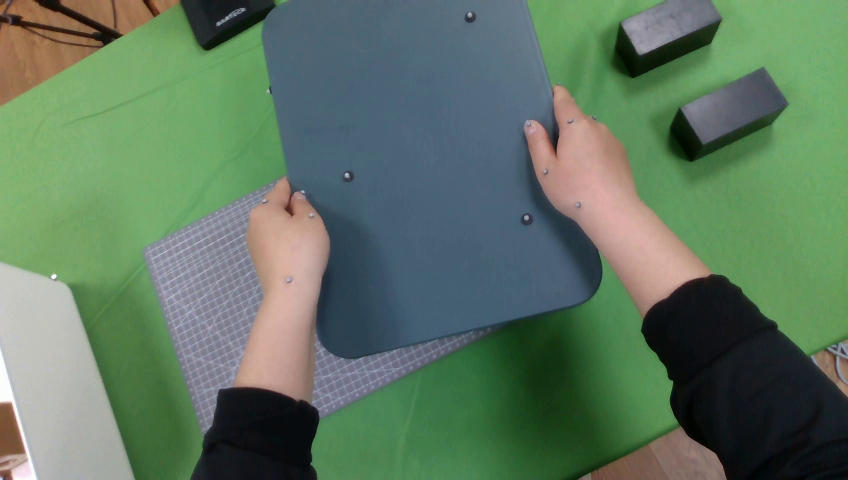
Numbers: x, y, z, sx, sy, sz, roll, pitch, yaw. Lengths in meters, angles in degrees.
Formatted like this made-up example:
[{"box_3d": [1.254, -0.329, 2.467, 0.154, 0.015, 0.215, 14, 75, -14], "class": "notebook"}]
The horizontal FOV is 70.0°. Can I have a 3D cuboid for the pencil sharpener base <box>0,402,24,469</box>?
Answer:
[{"box_3d": [-0.521, 0.238, 0.708, 0.061, 0.108, 0.076, -29, 74, 2], "class": "pencil sharpener base"}]

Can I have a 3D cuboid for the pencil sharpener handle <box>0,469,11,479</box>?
[{"box_3d": [-0.497, 0.276, 0.682, 0.036, 0.068, 0.030, -32, 73, 11], "class": "pencil sharpener handle"}]

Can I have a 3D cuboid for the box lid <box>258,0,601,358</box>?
[{"box_3d": [-0.008, -0.095, 0.568, 0.263, 0.015, 0.369, -15, 78, 7], "class": "box lid"}]

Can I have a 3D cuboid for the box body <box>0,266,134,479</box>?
[{"box_3d": [-0.509, 0.235, 0.685, 0.254, 0.161, 0.361, -30, 73, 2], "class": "box body"}]
